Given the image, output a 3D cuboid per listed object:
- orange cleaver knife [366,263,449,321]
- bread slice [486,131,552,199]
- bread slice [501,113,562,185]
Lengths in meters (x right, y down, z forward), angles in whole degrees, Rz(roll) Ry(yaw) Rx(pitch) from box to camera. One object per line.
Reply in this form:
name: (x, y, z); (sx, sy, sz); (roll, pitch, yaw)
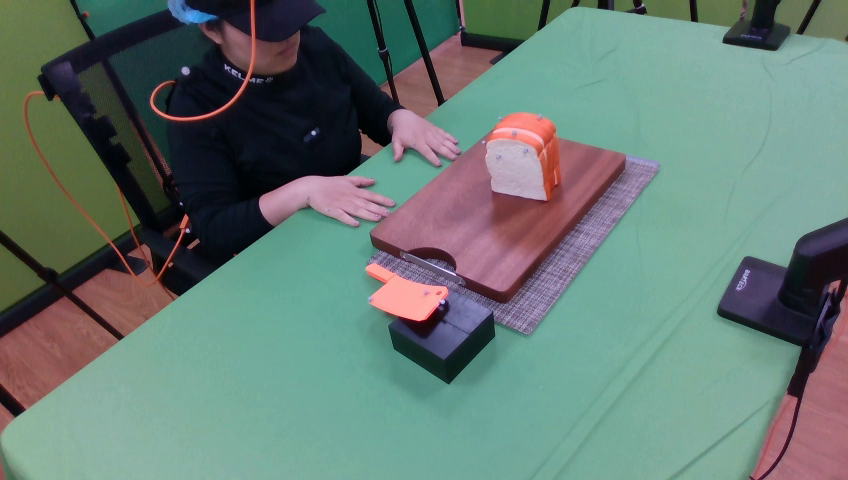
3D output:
orange cleaver knife: (-0.042, 0.072, 0.870); (0.077, 0.012, 0.209); (-37, 28, -23)
bread slice: (0.149, -0.119, 0.973); (0.104, 0.132, 0.019); (11, 54, 27)
bread slice: (0.176, -0.150, 1.002); (0.106, 0.135, 0.018); (16, 52, 23)
